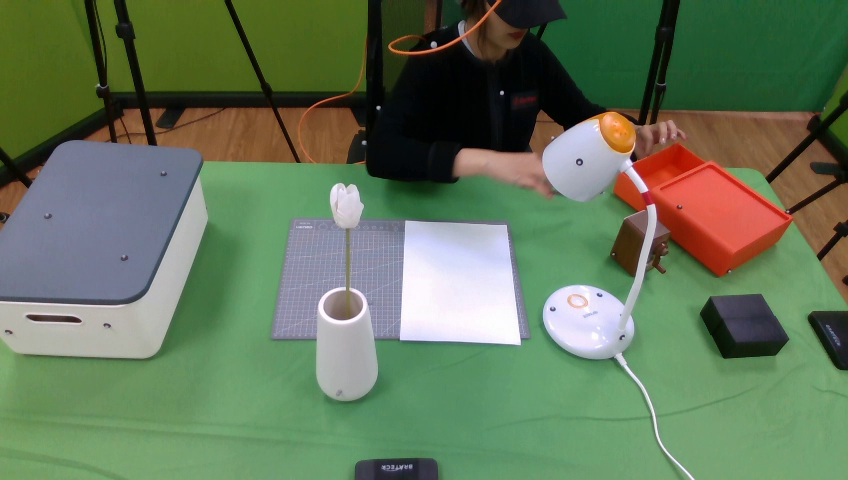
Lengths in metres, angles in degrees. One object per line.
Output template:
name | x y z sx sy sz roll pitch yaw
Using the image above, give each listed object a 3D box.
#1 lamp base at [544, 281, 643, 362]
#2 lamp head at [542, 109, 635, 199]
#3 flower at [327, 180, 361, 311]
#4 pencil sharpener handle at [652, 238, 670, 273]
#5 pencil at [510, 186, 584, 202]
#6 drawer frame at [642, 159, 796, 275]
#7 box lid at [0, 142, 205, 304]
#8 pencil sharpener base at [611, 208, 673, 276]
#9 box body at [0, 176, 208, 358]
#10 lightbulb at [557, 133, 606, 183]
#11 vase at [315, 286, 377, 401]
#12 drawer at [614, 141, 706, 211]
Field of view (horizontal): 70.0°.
lamp base | 0.303 0.095 1.014 0.161 0.181 0.178 -24 54 -24
lamp head | 0.253 -0.131 0.893 0.113 0.123 0.112 10 66 -24
flower | -0.110 0.086 0.867 0.044 0.363 0.038 22 33 35
pencil sharpener handle | 0.443 0.030 1.120 0.036 0.068 0.030 -24 52 -17
pencil | 0.246 -0.092 1.207 0.195 0.012 0.012 7 41 -30
drawer frame | 0.600 -0.054 1.246 0.202 0.083 0.212 -24 52 -25
box lid | -0.534 -0.044 0.995 0.263 0.015 0.369 3 45 -3
pencil sharpener base | 0.416 0.007 1.158 0.061 0.107 0.076 -20 51 -22
box body | -0.546 0.017 1.045 0.254 0.161 0.361 2 46 -2
lightbulb | 0.242 -0.127 0.916 0.059 0.108 0.059 5 67 -12
vase | -0.119 0.159 0.911 0.098 0.201 0.097 2 47 -2
drawer | 0.552 -0.104 1.295 0.194 0.073 0.210 -24 52 -25
